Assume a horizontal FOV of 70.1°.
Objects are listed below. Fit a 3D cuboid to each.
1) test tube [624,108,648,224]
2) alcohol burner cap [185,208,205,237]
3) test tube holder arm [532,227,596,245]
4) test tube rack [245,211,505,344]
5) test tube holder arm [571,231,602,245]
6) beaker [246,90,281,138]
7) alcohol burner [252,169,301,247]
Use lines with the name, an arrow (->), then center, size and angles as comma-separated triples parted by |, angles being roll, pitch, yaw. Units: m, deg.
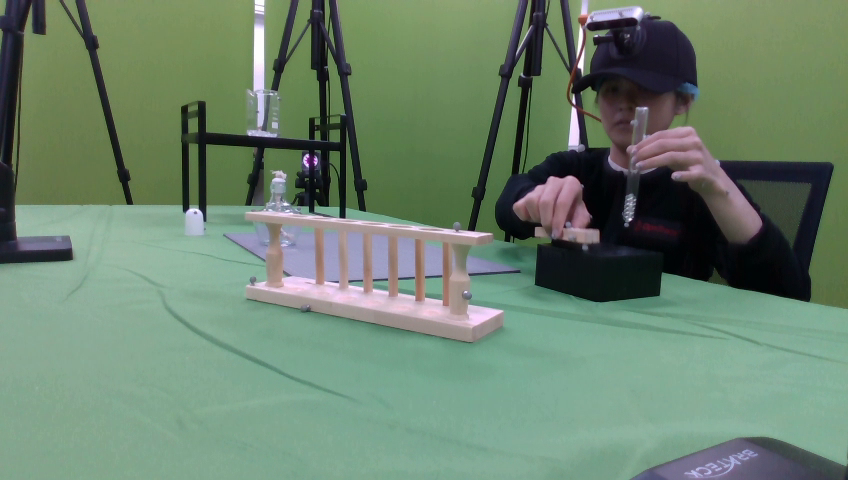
test tube -> 0.277, -0.095, 0.791 | 0.017, 0.150, 0.017 | 2, 13, 0
alcohol burner cap -> -0.391, -0.031, 1.032 | 0.034, 0.048, 0.034 | 3, 8, 0
test tube holder arm -> 0.158, -0.006, 0.707 | 0.013, 0.015, 0.178 | 8, 2, -10
test tube rack -> -0.049, 0.025, 0.547 | 0.241, 0.085, 0.067 | 7, 8, 29
test tube holder arm -> 0.171, -0.003, 0.663 | 0.010, 0.015, 0.087 | 8, 2, -9
beaker -> -0.354, -0.275, 1.322 | 0.074, 0.100, 0.084 | 4, 8, 12
alcohol burner -> -0.227, -0.050, 0.936 | 0.078, 0.119, 0.078 | 1, 7, 0
